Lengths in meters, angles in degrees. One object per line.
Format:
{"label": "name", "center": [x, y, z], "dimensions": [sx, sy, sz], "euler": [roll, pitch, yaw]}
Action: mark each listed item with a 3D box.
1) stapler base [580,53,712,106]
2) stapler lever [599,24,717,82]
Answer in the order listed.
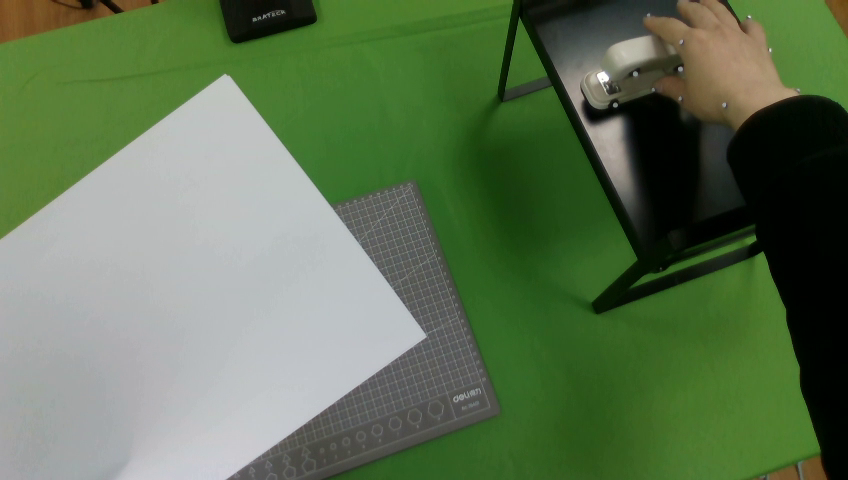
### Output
{"label": "stapler base", "center": [0.216, -0.168, 0.583], "dimensions": [0.131, 0.024, 0.041], "euler": [-19, 75, -8]}
{"label": "stapler lever", "center": [0.218, -0.176, 0.560], "dimensions": [0.118, 0.040, 0.026], "euler": [-20, 75, -7]}
